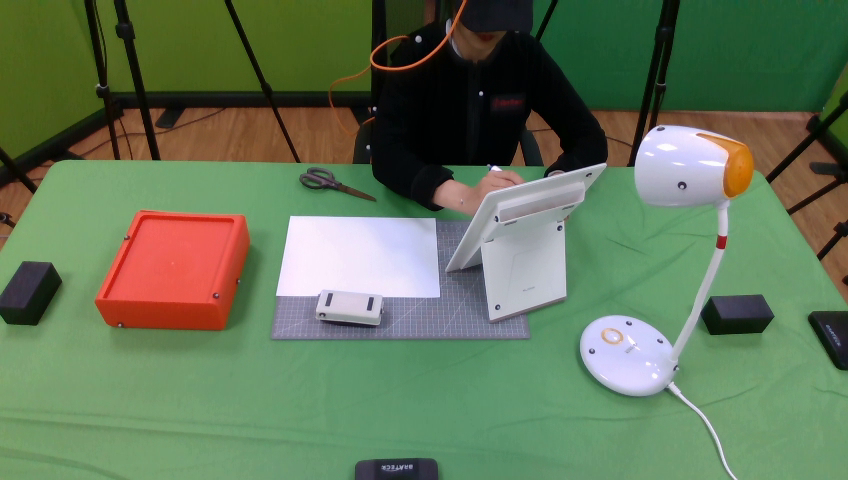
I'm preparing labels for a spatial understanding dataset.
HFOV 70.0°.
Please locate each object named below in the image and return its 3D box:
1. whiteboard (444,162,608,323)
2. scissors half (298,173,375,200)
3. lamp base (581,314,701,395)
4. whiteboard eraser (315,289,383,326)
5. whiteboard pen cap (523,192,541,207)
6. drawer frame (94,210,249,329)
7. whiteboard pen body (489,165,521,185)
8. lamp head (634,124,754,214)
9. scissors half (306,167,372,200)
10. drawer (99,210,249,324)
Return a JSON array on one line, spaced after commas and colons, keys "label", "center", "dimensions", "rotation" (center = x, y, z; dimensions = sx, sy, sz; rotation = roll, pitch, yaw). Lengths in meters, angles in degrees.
[{"label": "whiteboard", "center": [0.186, 0.025, 1.029], "dimensions": [0.217, 0.306, 0.143], "rotation": [-14, 68, -18]}, {"label": "scissors half", "center": [-0.188, -0.110, 1.296], "dimensions": [0.175, 0.013, 0.040], "rotation": [15, 42, 5]}, {"label": "lamp base", "center": [0.361, 0.145, 0.972], "dimensions": [0.178, 0.181, 0.160], "rotation": [34, 53, 23]}, {"label": "whiteboard eraser", "center": [-0.130, 0.119, 1.054], "dimensions": [0.113, 0.042, 0.055], "rotation": [6, 47, 1]}, {"label": "whiteboard pen cap", "center": [0.206, -0.077, 1.157], "dimensions": [0.033, 0.018, 0.018], "rotation": [34, 48, -8]}, {"label": "drawer frame", "center": [-0.435, 0.048, 1.076], "dimensions": [0.202, 0.083, 0.212], "rotation": [2, 47, -3]}, {"label": "whiteboard pen body", "center": [0.165, -0.097, 1.070], "dimensions": [0.017, 0.017, 0.140], "rotation": [-27, 48, -27]}, {"label": "lamp head", "center": [0.351, -0.089, 0.776], "dimensions": [0.112, 0.113, 0.122], "rotation": [-30, 30, -28]}, {"label": "scissors half", "center": [-0.180, -0.121, 1.311], "dimensions": [0.174, 0.013, 0.040], "rotation": [27, 39, 18]}, {"label": "drawer", "center": [-0.435, 0.044, 1.081], "dimensions": [0.194, 0.073, 0.210], "rotation": [3, 46, -2]}]
